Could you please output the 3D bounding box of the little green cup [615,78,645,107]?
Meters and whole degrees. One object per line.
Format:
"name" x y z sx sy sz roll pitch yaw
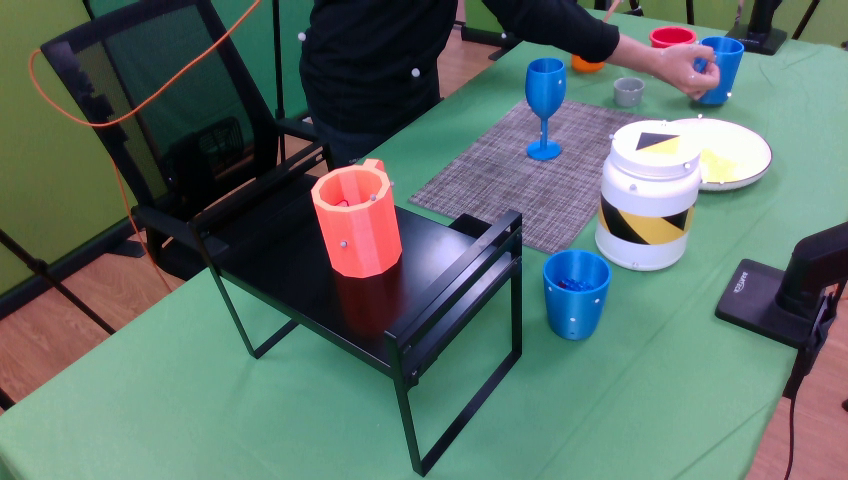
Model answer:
"little green cup" 0.426 -0.306 1.257 0.061 0.039 0.061 -5 40 4

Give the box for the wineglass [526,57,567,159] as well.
"wineglass" 0.221 -0.237 1.097 0.074 0.173 0.073 -5 41 4

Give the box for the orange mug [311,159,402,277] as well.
"orange mug" -0.069 -0.034 0.694 0.083 0.101 0.126 5 46 16

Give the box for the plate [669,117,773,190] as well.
"plate" 0.495 -0.148 1.063 0.209 0.038 0.208 -5 40 4

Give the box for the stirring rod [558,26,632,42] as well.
"stirring rod" 0.381 -0.462 1.356 0.175 0.006 0.014 23 48 30

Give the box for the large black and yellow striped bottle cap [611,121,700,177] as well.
"large black and yellow striped bottle cap" 0.315 -0.126 0.823 0.115 0.019 0.114 -4 42 4

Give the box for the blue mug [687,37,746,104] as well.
"blue mug" 0.559 -0.325 1.179 0.117 0.106 0.081 -31 48 -28

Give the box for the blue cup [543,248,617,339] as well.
"blue cup" 0.199 0.076 0.797 0.092 0.100 0.092 -4 39 4

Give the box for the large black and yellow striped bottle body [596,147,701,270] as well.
"large black and yellow striped bottle body" 0.323 -0.063 0.877 0.131 0.185 0.130 -4 40 4

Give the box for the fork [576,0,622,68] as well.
"fork" 0.409 -0.484 1.380 0.028 0.019 0.207 37 101 46
